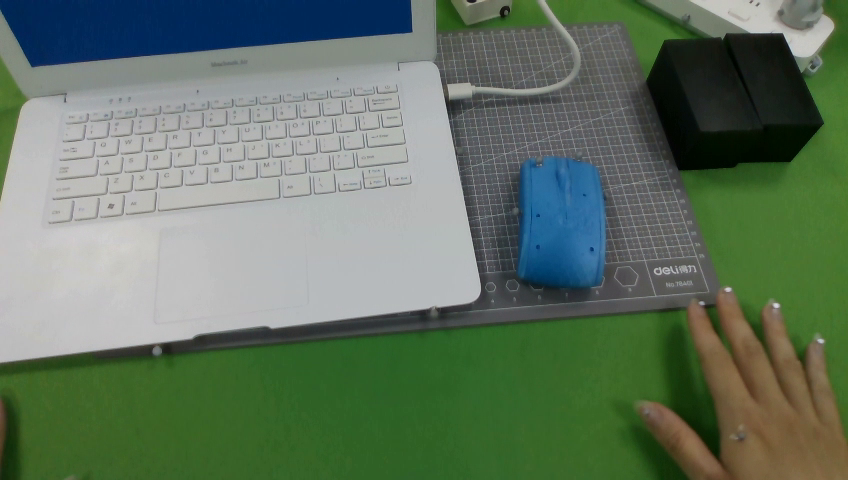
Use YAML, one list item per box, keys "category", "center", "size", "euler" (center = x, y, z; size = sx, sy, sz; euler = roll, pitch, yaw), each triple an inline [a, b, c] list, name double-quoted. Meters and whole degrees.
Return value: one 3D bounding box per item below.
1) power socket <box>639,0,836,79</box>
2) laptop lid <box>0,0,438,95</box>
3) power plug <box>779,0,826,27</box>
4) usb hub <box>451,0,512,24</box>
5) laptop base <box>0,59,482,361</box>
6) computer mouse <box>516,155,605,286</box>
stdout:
- category: "power socket"
  center: [0.282, -0.232, 0.584]
  size: [0.225, 0.033, 0.072]
  euler: [39, 66, 19]
- category: "laptop lid"
  center: [-0.166, -0.219, 0.443]
  size: [0.357, 0.244, 0.013]
  euler: [-8, 48, -3]
- category: "power plug"
  center: [0.356, -0.218, 0.552]
  size: [0.072, 0.053, 0.035]
  euler: [-34, 65, -17]
- category: "usb hub"
  center: [0.039, -0.269, 0.604]
  size: [0.049, 0.025, 0.124]
  euler: [-19, 63, -12]
- category: "laptop base"
  center: [-0.147, -0.036, 0.475]
  size: [0.355, 0.023, 0.233]
  euler: [-7, 64, -4]
- category: "computer mouse"
  center: [0.103, -0.020, 0.456]
  size: [0.063, 0.041, 0.116]
  euler: [6, 56, 5]
